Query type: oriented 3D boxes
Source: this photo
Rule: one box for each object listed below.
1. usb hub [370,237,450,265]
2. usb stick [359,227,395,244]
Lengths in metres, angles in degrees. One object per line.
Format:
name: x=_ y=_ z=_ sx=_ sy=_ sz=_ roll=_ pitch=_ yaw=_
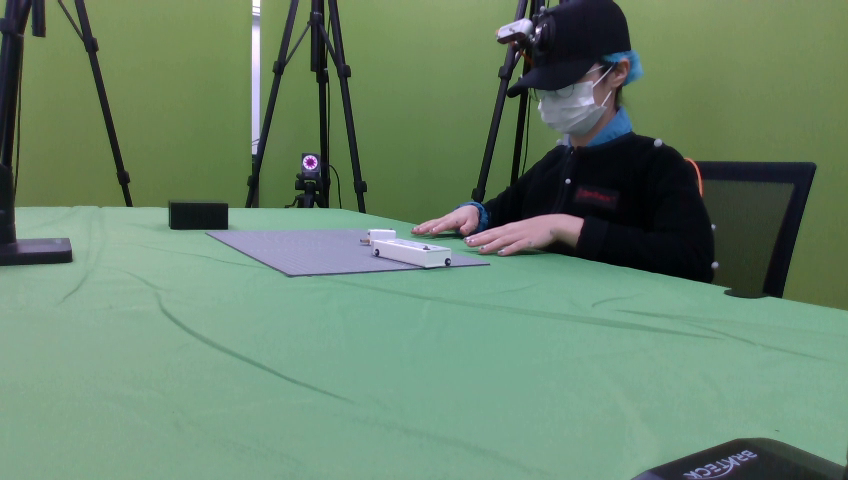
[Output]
usb hub: x=-0.022 y=0.014 z=0.861 sx=0.050 sy=0.025 sz=0.124 roll=-5 pitch=9 yaw=-41
usb stick: x=-0.079 y=-0.007 z=1.009 sx=0.059 sy=0.027 sz=0.021 roll=-3 pitch=10 yaw=-19
